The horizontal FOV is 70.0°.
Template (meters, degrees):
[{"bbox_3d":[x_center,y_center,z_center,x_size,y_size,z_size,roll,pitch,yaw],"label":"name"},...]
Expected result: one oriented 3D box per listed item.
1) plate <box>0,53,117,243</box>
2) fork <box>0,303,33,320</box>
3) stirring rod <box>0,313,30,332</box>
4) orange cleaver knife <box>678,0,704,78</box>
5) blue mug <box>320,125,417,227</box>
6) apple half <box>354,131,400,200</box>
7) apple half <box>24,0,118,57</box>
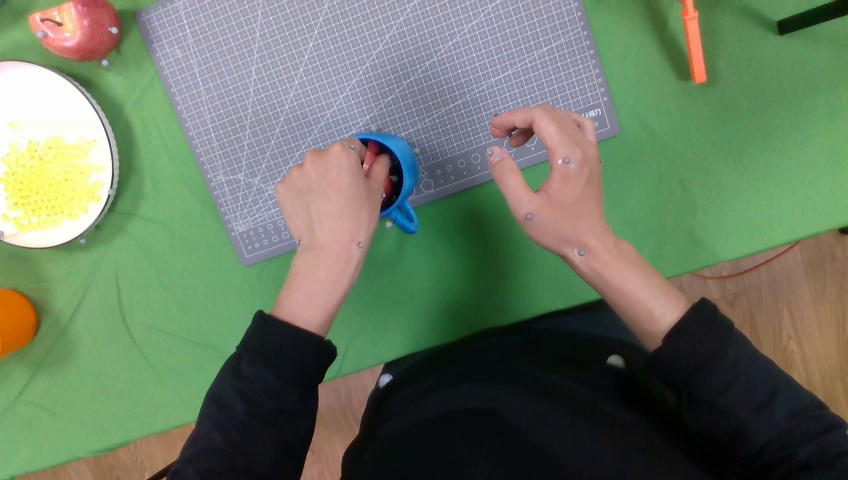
[{"bbox_3d":[-0.441,-0.101,0.680,0.209,0.038,0.210,1,103,4],"label":"plate"},{"bbox_3d":[-0.560,0.102,0.676,0.208,0.018,0.028,-12,104,-38],"label":"fork"},{"bbox_3d":[-0.545,0.117,0.681,0.176,0.006,0.014,-19,91,-33],"label":"stirring rod"},{"bbox_3d":[0.241,-0.258,0.573,0.012,0.076,0.213,-16,127,16],"label":"orange cleaver knife"},{"bbox_3d":[-0.044,-0.063,0.622,0.082,0.105,0.117,-34,97,10],"label":"blue mug"},{"bbox_3d":[-0.041,-0.074,0.606,0.032,0.081,0.081,14,103,13],"label":"apple half"},{"bbox_3d":[-0.359,-0.219,0.630,0.081,0.074,0.053,-16,104,4],"label":"apple half"}]
